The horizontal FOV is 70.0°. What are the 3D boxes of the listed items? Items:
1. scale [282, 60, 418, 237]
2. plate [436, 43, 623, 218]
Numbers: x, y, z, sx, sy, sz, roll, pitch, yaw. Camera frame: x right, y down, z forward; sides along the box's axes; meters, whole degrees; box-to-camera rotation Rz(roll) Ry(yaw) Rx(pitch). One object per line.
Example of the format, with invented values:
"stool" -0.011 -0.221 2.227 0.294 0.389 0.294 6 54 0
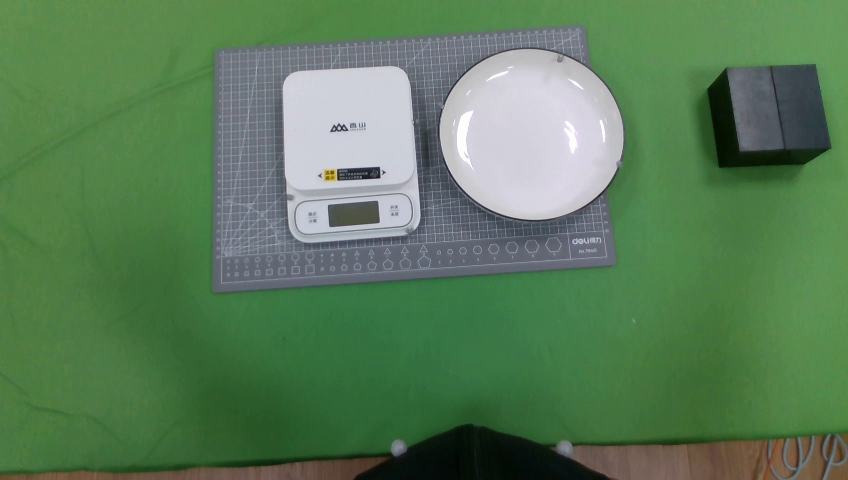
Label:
"scale" -0.086 -0.107 0.690 0.149 0.032 0.200 -4 78 0
"plate" 0.118 -0.121 0.688 0.209 0.038 0.208 0 78 0
